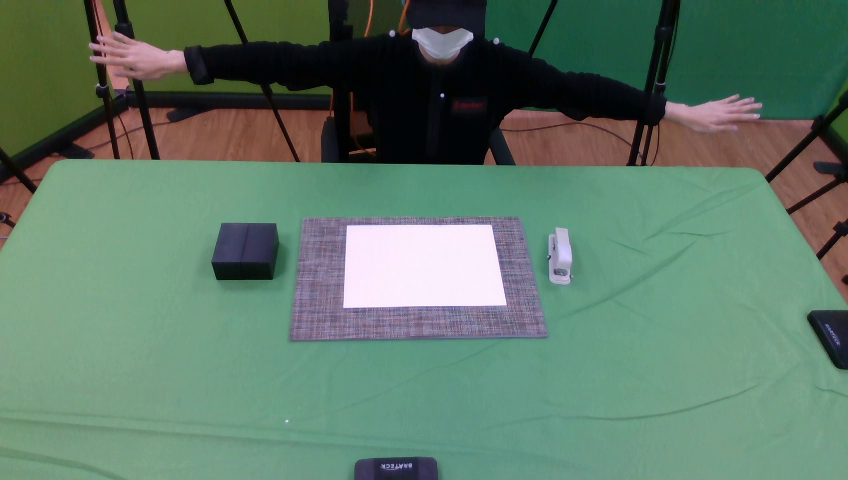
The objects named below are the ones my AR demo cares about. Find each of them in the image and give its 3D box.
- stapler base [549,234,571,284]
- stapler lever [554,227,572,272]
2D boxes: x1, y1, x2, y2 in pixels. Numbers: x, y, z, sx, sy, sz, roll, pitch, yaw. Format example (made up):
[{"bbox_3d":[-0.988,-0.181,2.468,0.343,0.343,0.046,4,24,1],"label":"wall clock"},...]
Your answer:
[{"bbox_3d":[0.268,0.030,1.188,0.041,0.024,0.130,8,44,2],"label":"stapler base"},{"bbox_3d":[0.268,0.012,1.172,0.027,0.040,0.117,8,45,2],"label":"stapler lever"}]
